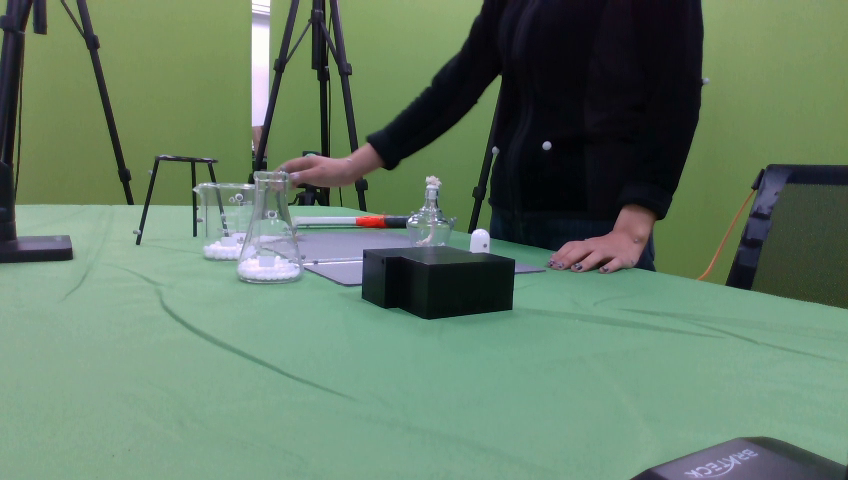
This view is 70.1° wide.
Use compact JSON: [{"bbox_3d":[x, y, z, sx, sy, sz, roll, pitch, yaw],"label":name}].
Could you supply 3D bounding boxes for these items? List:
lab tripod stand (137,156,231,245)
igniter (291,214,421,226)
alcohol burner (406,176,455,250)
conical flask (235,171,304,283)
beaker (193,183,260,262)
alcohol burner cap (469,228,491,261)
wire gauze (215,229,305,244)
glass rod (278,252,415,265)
[{"bbox_3d":[-0.358,-0.061,0.927,0.148,0.131,0.148,4,6,0],"label":"lab tripod stand"},{"bbox_3d":[-0.135,-0.040,1.250,0.278,0.025,0.057,-2,-3,-28],"label":"igniter"},{"bbox_3d":[0.011,-0.044,0.963,0.078,0.119,0.078,4,7,0],"label":"alcohol burner"},{"bbox_3d":[-0.172,-0.016,0.677,0.075,0.122,0.075,2,7,0],"label":"conical flask"},{"bbox_3d":[-0.262,-0.024,0.806,0.084,0.100,0.073,-3,8,-30],"label":"beaker"},{"bbox_3d":[0.082,0.006,0.878,0.034,0.048,0.034,2,6,0],"label":"alcohol burner cap"},{"bbox_3d":[-0.273,-0.009,1.013,0.122,0.011,0.124,-2,9,-33],"label":"wire gauze"},{"bbox_3d":[-0.097,0.024,0.805,0.201,0.008,0.008,-3,8,-33],"label":"glass rod"}]
